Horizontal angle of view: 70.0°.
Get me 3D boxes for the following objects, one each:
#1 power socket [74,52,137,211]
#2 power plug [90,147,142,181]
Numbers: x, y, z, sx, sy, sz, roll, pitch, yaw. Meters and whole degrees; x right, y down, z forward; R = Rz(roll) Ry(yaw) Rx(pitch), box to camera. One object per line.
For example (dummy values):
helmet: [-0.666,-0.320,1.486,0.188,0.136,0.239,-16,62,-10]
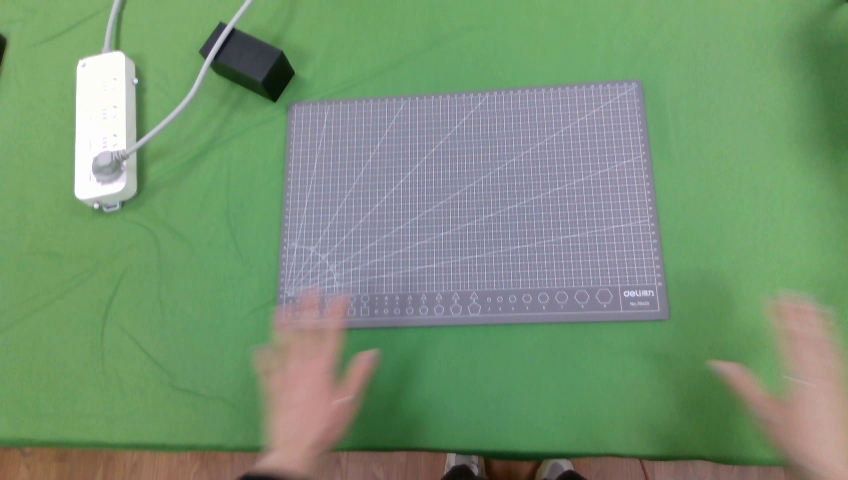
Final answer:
power socket: [-0.419,-0.149,0.798,0.072,0.033,0.225,-10,72,3]
power plug: [-0.380,-0.091,0.757,0.072,0.053,0.035,0,73,4]
